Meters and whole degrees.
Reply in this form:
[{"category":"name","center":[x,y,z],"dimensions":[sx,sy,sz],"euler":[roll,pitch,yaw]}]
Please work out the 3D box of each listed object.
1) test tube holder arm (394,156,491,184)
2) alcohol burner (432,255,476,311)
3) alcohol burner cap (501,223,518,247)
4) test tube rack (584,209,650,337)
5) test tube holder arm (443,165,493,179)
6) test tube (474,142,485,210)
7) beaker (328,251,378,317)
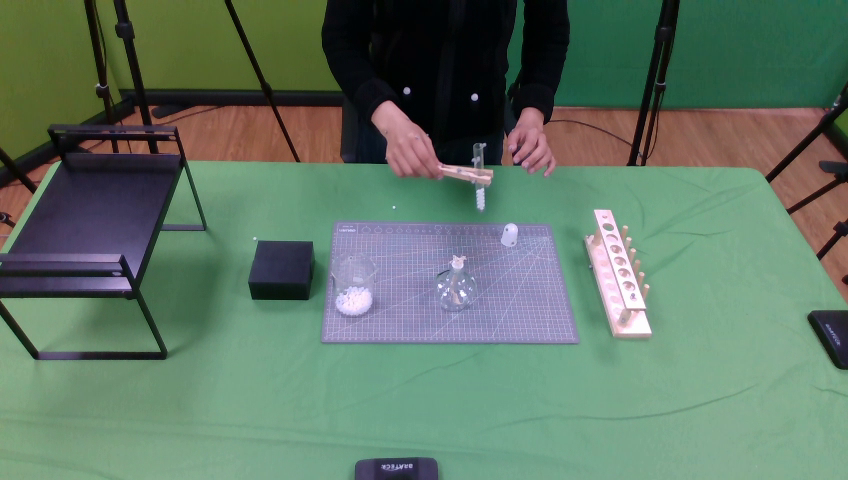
[{"category":"test tube holder arm","center":[0.030,-0.122,1.047],"dimensions":[0.178,0.015,0.013],"euler":[13,50,18]},{"category":"alcohol burner","center":[0.055,0.070,1.068],"dimensions":[0.078,0.119,0.077],"euler":[3,45,-3]},{"category":"alcohol burner cap","center":[0.172,-0.013,1.206],"dimensions":[0.034,0.048,0.033],"euler":[2,46,-2]},{"category":"test tube rack","center":[0.365,0.056,1.129],"dimensions":[0.067,0.085,0.240],"euler":[1,46,-4]},{"category":"test tube holder arm","center":[0.074,-0.117,1.038],"dimensions":[0.087,0.015,0.010],"euler":[8,49,13]},{"category":"test tube","center":[0.095,-0.106,1.035],"dimensions":[0.017,0.151,0.017],"euler":[-3,50,4]},{"category":"beaker","center":[-0.123,0.079,1.055],"dimensions":[0.084,0.101,0.073],"euler":[0,47,-5]}]
